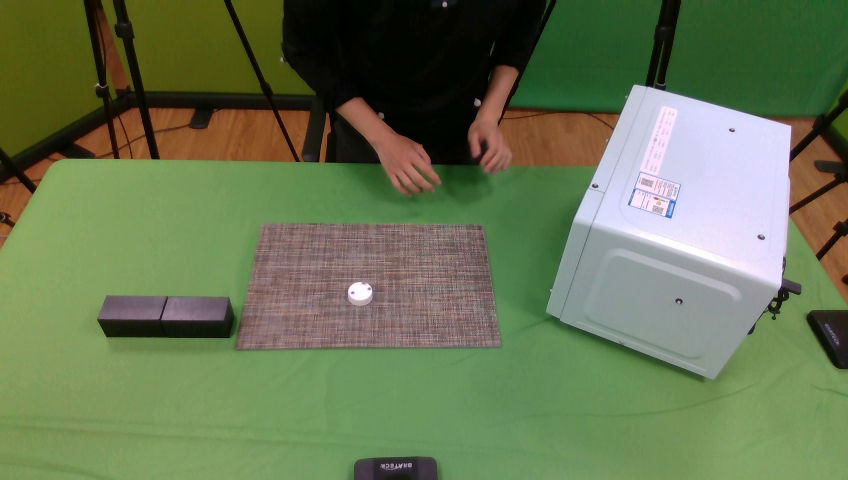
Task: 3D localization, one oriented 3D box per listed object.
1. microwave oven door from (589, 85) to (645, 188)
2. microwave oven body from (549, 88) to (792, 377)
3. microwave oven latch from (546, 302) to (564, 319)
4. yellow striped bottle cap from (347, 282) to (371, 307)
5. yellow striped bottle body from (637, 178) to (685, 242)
[{"bbox_3d":[0.341,-0.107,1.149,0.039,0.245,0.354,20,48,15],"label":"microwave oven door"},{"bbox_3d":[0.456,-0.028,1.088,0.325,0.261,0.440,20,47,16],"label":"microwave oven body"},{"bbox_3d":[0.242,0.102,1.081,0.030,0.029,0.079,21,48,17],"label":"microwave oven latch"},{"bbox_3d":[-0.117,0.098,1.093,0.044,0.019,0.044,3,45,-3],"label":"yellow striped bottle cap"},{"bbox_3d":[0.442,-0.058,1.126,0.063,0.121,0.062,0,47,1],"label":"yellow striped bottle body"}]
